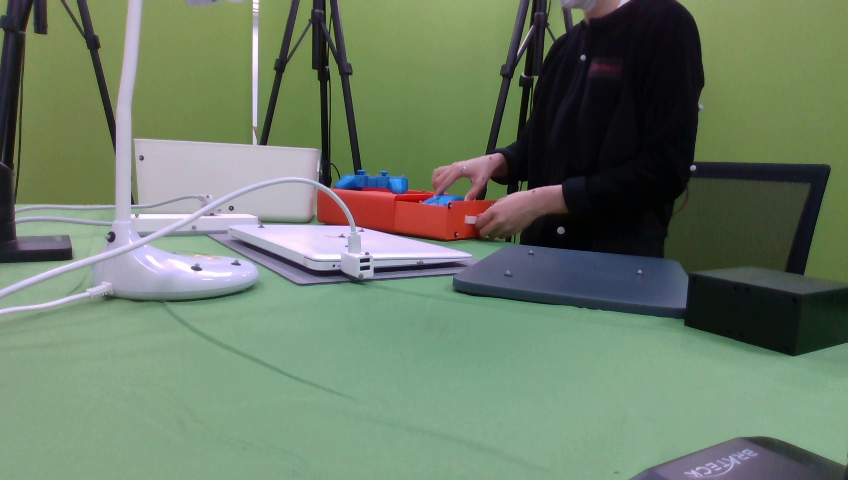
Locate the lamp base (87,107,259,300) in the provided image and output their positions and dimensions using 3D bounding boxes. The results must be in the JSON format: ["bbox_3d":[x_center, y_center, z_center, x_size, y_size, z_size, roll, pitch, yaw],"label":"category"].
[{"bbox_3d":[-0.254,-0.039,0.603,0.160,0.180,0.179,5,10,18],"label":"lamp base"}]

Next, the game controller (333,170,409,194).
[{"bbox_3d":[-0.107,-0.121,1.289,0.155,0.051,0.097,5,5,10],"label":"game controller"}]

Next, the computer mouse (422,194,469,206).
[{"bbox_3d":[0.042,-0.067,1.181,0.062,0.041,0.118,12,13,43],"label":"computer mouse"}]

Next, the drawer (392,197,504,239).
[{"bbox_3d":[0.021,-0.052,1.210,0.210,0.073,0.195,8,9,37],"label":"drawer"}]

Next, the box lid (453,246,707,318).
[{"bbox_3d":[0.204,0.044,0.780,0.262,0.015,0.372,5,7,17],"label":"box lid"}]

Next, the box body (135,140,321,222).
[{"bbox_3d":[-0.420,-0.133,1.354,0.365,0.160,0.253,2,7,-8],"label":"box body"}]

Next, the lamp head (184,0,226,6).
[{"bbox_3d":[-0.229,-0.320,0.627,0.112,0.112,0.123,6,-36,26],"label":"lamp head"}]

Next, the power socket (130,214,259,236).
[{"bbox_3d":[-0.397,-0.028,1.048,0.228,0.032,0.072,-3,7,-35],"label":"power socket"}]

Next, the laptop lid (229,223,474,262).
[{"bbox_3d":[-0.121,0.000,0.888,0.243,0.013,0.355,1,7,-33],"label":"laptop lid"}]

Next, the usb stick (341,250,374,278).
[{"bbox_3d":[-0.078,0.026,0.686,0.021,0.027,0.059,-8,8,-30],"label":"usb stick"}]

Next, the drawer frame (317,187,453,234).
[{"bbox_3d":[-0.082,-0.068,1.282,0.212,0.082,0.203,7,9,35],"label":"drawer frame"}]

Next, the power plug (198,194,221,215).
[{"bbox_3d":[-0.386,-0.055,1.088,0.035,0.052,0.072,-2,7,-24],"label":"power plug"}]

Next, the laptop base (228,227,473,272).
[{"bbox_3d":[-0.124,0.011,0.889,0.237,0.023,0.352,2,6,-35],"label":"laptop base"}]
